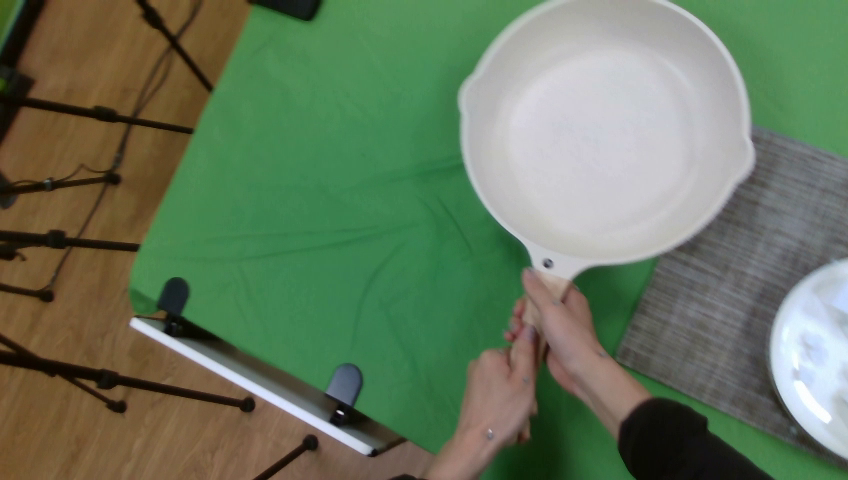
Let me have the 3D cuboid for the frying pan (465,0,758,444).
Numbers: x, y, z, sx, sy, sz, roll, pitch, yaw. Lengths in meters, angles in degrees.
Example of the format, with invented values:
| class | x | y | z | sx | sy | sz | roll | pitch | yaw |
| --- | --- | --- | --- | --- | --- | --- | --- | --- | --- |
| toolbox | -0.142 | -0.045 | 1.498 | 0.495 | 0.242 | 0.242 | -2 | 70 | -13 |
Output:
| class | x | y | z | sx | sy | sz | roll | pitch | yaw |
| --- | --- | --- | --- | --- | --- | --- | --- | --- | --- |
| frying pan | 0.158 | -0.021 | 0.650 | 0.305 | 0.103 | 0.486 | 19 | 81 | 16 |

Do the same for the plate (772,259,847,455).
| class | x | y | z | sx | sy | sz | roll | pitch | yaw |
| --- | --- | --- | --- | --- | --- | --- | --- | --- | --- |
| plate | 0.457 | 0.118 | 0.601 | 0.207 | 0.039 | 0.207 | -2 | 81 | 14 |
